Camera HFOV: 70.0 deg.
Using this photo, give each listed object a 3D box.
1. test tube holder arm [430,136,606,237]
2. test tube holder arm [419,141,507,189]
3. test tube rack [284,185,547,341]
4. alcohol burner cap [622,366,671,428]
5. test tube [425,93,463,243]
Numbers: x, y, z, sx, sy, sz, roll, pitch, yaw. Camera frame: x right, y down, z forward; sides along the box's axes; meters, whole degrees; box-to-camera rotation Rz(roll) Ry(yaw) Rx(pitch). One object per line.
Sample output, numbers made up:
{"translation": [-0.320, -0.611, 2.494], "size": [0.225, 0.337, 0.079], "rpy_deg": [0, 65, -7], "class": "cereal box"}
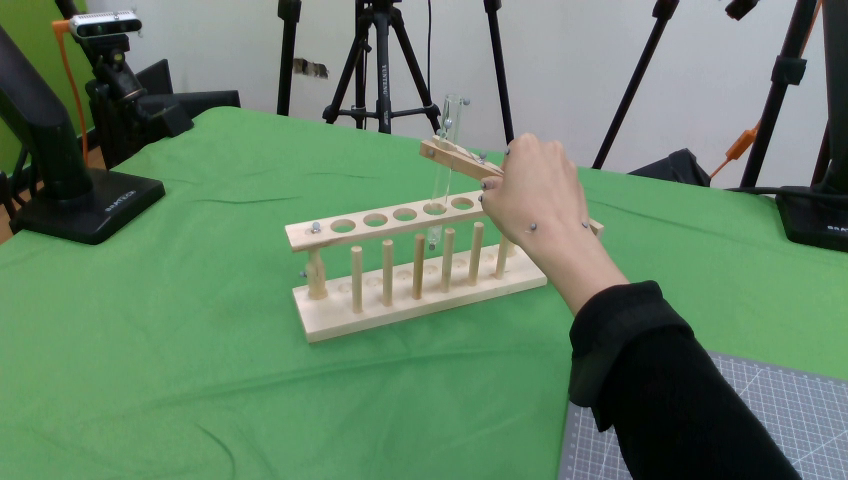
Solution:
{"translation": [0.071, -0.048, 0.500], "size": [0.177, 0.015, 0.013], "rpy_deg": [31, 47, 30], "class": "test tube holder arm"}
{"translation": [0.034, -0.065, 0.518], "size": [0.087, 0.015, 0.010], "rpy_deg": [25, 44, 25], "class": "test tube holder arm"}
{"translation": [0.000, 0.015, 0.571], "size": [0.243, 0.086, 0.066], "rpy_deg": [-11, 38, -18], "class": "test tube rack"}
{"translation": [0.175, 0.118, 0.470], "size": [0.034, 0.048, 0.033], "rpy_deg": [2, 36, -1], "class": "alcohol burner cap"}
{"translation": [0.016, -0.059, 0.544], "size": [0.017, 0.151, 0.017], "rpy_deg": [6, 36, -4], "class": "test tube"}
